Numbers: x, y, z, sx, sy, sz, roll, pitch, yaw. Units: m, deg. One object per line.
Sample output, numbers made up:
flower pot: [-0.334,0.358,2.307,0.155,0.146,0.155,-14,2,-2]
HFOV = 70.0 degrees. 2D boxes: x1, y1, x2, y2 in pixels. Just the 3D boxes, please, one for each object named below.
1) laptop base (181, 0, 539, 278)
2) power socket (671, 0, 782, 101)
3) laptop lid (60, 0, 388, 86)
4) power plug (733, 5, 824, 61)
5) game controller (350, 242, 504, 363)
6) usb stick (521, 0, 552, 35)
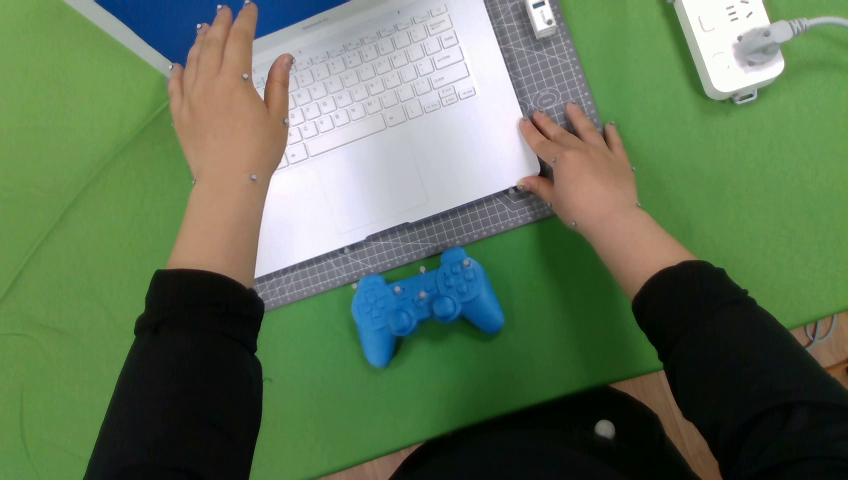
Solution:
laptop base: [-0.078,-0.123,0.666,0.354,0.023,0.235,-20,88,8]
power socket: [0.287,-0.251,0.606,0.072,0.033,0.226,-18,85,9]
laptop lid: [-0.141,-0.257,0.562,0.356,0.243,0.013,-20,76,9]
power plug: [0.334,-0.191,0.576,0.072,0.053,0.035,-6,85,4]
game controller: [-0.002,0.064,0.633,0.155,0.052,0.096,-18,81,8]
usb stick: [0.115,-0.248,0.634,0.021,0.027,0.059,-18,83,8]
